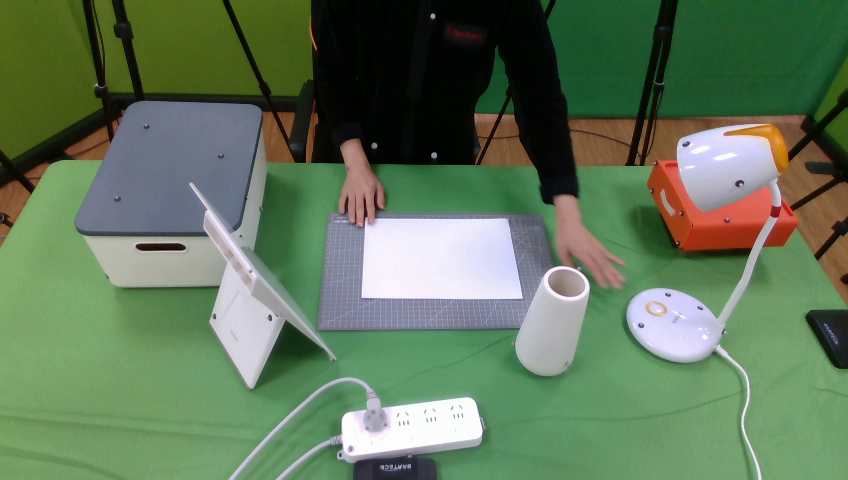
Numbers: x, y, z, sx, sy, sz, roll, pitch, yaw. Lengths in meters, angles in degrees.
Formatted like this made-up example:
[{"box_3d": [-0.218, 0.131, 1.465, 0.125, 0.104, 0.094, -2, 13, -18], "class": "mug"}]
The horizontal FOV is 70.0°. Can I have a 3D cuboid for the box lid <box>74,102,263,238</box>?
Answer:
[{"box_3d": [-0.443, -0.138, 1.094, 0.263, 0.015, 0.369, 0, 46, -5], "class": "box lid"}]

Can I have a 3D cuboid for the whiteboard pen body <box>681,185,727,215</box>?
[{"box_3d": [0.571, -0.081, 1.238, 0.141, 0.017, 0.017, -27, 54, -23], "class": "whiteboard pen body"}]

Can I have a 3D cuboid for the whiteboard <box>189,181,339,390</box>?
[{"box_3d": [-0.292, 0.096, 0.929, 0.144, 0.307, 0.216, -37, 57, -10], "class": "whiteboard"}]

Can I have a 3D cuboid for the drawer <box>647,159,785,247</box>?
[{"box_3d": [0.582, -0.079, 1.214, 0.212, 0.073, 0.193, -1, 46, -5], "class": "drawer"}]

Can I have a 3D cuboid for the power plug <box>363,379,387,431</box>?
[{"box_3d": [-0.072, 0.252, 0.910, 0.035, 0.053, 0.072, 3, 44, -1], "class": "power plug"}]

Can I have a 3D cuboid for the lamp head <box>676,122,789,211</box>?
[{"box_3d": [0.423, -0.104, 0.819, 0.122, 0.113, 0.112, -13, 33, 40], "class": "lamp head"}]

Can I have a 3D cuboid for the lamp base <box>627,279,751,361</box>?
[{"box_3d": [0.459, 0.100, 1.027, 0.178, 0.181, 0.160, 27, 51, 17], "class": "lamp base"}]

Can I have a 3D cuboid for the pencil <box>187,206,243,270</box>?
[{"box_3d": [-0.401, -0.008, 1.176, 0.012, 0.012, 0.193, 15, 44, 10], "class": "pencil"}]

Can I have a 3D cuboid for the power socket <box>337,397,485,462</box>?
[{"box_3d": [-0.018, 0.285, 0.915, 0.227, 0.033, 0.071, -5, 46, -8], "class": "power socket"}]

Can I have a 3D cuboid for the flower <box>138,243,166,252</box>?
[{"box_3d": [-0.443, -0.044, 1.193, 0.044, 0.038, 0.361, 45, 47, -6], "class": "flower"}]

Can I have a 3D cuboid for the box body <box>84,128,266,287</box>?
[{"box_3d": [-0.447, -0.088, 1.150, 0.254, 0.161, 0.361, -1, 46, -5], "class": "box body"}]

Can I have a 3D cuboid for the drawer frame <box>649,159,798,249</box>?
[{"box_3d": [0.588, -0.077, 1.219, 0.214, 0.083, 0.200, -2, 45, -5], "class": "drawer frame"}]

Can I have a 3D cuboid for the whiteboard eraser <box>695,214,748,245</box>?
[{"box_3d": [0.592, -0.019, 1.209, 0.113, 0.042, 0.055, 11, 27, -36], "class": "whiteboard eraser"}]

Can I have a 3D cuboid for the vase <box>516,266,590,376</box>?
[{"box_3d": [0.208, 0.132, 0.964, 0.098, 0.201, 0.097, 3, 46, -3], "class": "vase"}]

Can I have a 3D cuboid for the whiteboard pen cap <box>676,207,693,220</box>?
[{"box_3d": [0.524, -0.053, 1.216, 0.033, 0.018, 0.018, -28, 54, -23], "class": "whiteboard pen cap"}]
